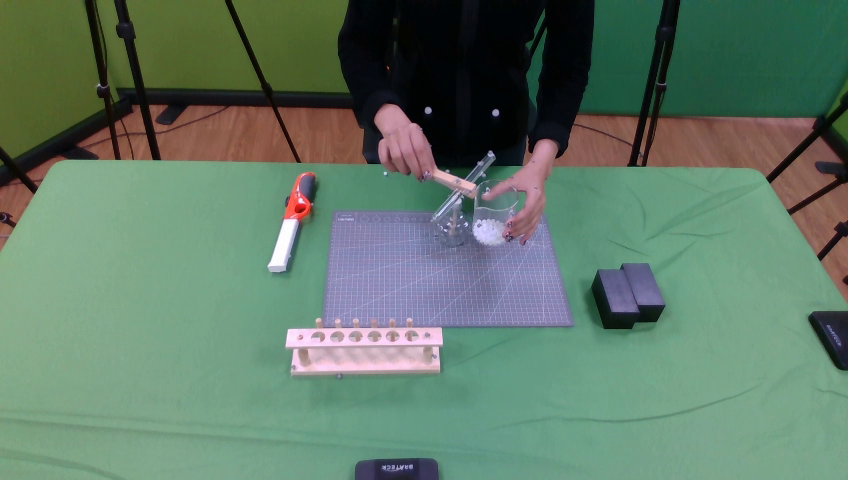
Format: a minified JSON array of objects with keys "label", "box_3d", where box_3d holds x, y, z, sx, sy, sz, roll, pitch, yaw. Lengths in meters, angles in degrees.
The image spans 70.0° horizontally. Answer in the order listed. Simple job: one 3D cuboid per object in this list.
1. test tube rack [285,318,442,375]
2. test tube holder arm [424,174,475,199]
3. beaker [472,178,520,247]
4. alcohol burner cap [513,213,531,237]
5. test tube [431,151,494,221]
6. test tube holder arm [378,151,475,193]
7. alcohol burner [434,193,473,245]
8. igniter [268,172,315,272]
[{"label":"test tube rack","box_3d":[-0.095,0.168,0.986,0.242,0.085,0.066,0,46,-4]},{"label":"test tube holder arm","box_3d":[0.039,-0.089,0.947,0.087,0.010,0.015,29,65,17]},{"label":"beaker","box_3d":[0.118,-0.043,1.041,0.084,0.101,0.073,-27,54,-22]},{"label":"alcohol burner cap","box_3d":[0.200,-0.034,1.227,0.034,0.048,0.033,2,46,-2]},{"label":"test tube","box_3d":[0.060,-0.084,0.935,0.017,0.017,0.150,32,69,25]},{"label":"test tube holder arm","box_3d":[0.001,-0.110,0.959,0.177,0.013,0.015,25,63,25]},{"label":"alcohol burner","box_3d":[0.059,-0.046,1.179,0.078,0.120,0.077,1,48,-1]},{"label":"igniter","box_3d":[-0.263,-0.045,1.219,0.057,0.025,0.275,-2,45,8]}]
